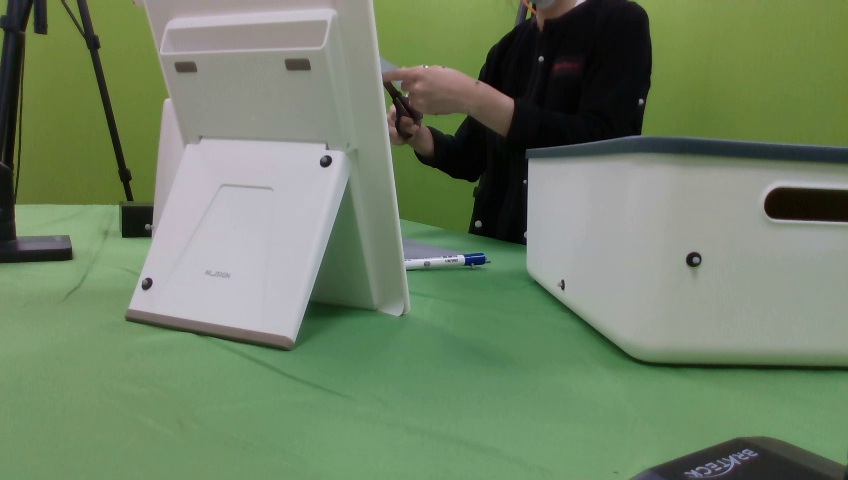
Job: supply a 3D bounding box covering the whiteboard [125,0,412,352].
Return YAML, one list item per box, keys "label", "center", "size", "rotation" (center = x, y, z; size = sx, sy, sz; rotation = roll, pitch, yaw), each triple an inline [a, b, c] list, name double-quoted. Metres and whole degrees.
- label: "whiteboard"
  center: [-0.151, -0.049, 0.472]
  size: [0.216, 0.305, 0.144]
  rotation: [6, 27, 24]

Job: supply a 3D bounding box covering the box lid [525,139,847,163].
- label: "box lid"
  center: [0.261, -0.078, 0.580]
  size: [0.264, 0.015, 0.371]
  rotation: [2, 7, -4]

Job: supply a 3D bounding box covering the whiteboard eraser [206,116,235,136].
- label: "whiteboard eraser"
  center: [-0.450, -0.252, 1.335]
  size: [0.056, 0.042, 0.112]
  rotation: [1, 7, -22]

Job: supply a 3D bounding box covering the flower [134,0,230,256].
- label: "flower"
  center: [-0.282, -0.147, 0.713]
  size: [0.038, 0.362, 0.044]
  rotation: [-23, 24, -31]

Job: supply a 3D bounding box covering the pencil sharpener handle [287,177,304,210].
- label: "pencil sharpener handle"
  center: [-0.269, -0.096, 1.257]
  size: [0.036, 0.067, 0.030]
  rotation: [-8, 8, -27]

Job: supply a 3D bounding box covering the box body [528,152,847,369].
- label: "box body"
  center: [0.257, -0.005, 0.591]
  size: [0.254, 0.160, 0.363]
  rotation: [2, 7, -4]

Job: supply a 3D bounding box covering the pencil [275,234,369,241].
- label: "pencil"
  center: [-0.169, -0.006, 1.036]
  size: [0.195, 0.012, 0.012]
  rotation: [-2, 9, -45]

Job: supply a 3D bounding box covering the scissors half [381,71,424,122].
- label: "scissors half"
  center: [-0.045, -0.262, 1.064]
  size: [0.013, 0.040, 0.176]
  rotation: [14, -11, 34]

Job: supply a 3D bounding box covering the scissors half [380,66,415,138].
- label: "scissors half"
  center: [-0.055, -0.245, 1.058]
  size: [0.012, 0.176, 0.040]
  rotation: [20, 61, 36]

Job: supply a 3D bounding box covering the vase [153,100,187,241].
- label: "vase"
  center: [-0.278, -0.066, 0.736]
  size: [0.098, 0.200, 0.098]
  rotation: [2, 9, 0]

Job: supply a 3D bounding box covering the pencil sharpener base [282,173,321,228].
- label: "pencil sharpener base"
  center: [-0.247, -0.080, 1.212]
  size: [0.061, 0.107, 0.076]
  rotation: [-2, 5, -28]

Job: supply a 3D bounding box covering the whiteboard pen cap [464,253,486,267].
- label: "whiteboard pen cap"
  center: [0.066, 0.027, 0.818]
  size: [0.033, 0.018, 0.018]
  rotation: [-6, 10, -24]

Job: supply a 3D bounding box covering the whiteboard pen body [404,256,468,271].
- label: "whiteboard pen body"
  center: [0.013, 0.030, 0.792]
  size: [0.141, 0.017, 0.017]
  rotation: [-3, 9, -24]
